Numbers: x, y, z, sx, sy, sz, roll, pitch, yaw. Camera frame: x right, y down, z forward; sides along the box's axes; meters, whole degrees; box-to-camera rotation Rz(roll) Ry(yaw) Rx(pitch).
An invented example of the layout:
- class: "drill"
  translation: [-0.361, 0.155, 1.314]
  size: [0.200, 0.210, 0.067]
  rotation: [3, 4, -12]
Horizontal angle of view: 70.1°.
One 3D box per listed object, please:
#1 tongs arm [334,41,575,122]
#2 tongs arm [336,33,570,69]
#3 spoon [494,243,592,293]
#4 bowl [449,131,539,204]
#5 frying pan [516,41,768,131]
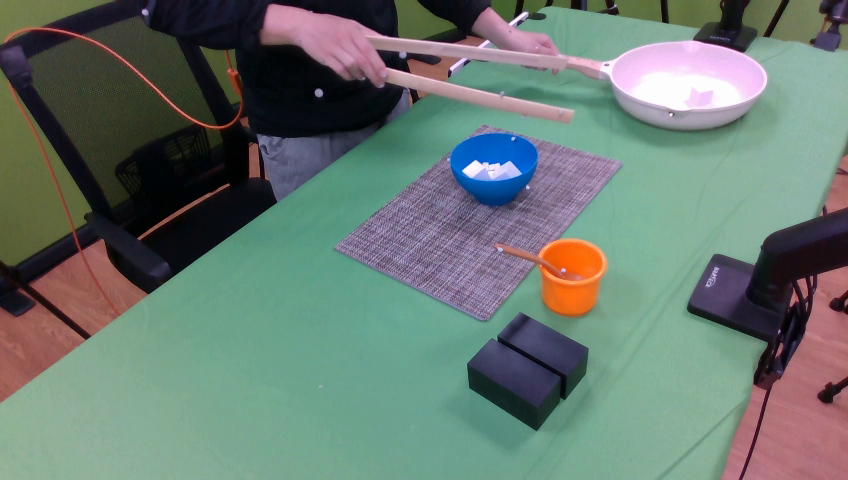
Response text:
- class: "tongs arm"
  translation: [0.046, -0.247, 0.946]
  size: [0.385, 0.026, 0.050]
  rotation: [11, 56, -3]
- class: "tongs arm"
  translation: [0.052, -0.305, 0.987]
  size: [0.389, 0.028, 0.028]
  rotation: [3, 60, -9]
- class: "spoon"
  translation: [0.161, 0.034, 0.808]
  size: [0.021, 0.195, 0.041]
  rotation: [-48, 40, 20]
- class: "bowl"
  translation: [0.120, -0.114, 1.034]
  size: [0.151, 0.077, 0.150]
  rotation: [-4, 41, 4]
- class: "frying pan"
  translation: [0.424, -0.338, 1.236]
  size: [0.486, 0.103, 0.307]
  rotation: [18, 45, 15]
